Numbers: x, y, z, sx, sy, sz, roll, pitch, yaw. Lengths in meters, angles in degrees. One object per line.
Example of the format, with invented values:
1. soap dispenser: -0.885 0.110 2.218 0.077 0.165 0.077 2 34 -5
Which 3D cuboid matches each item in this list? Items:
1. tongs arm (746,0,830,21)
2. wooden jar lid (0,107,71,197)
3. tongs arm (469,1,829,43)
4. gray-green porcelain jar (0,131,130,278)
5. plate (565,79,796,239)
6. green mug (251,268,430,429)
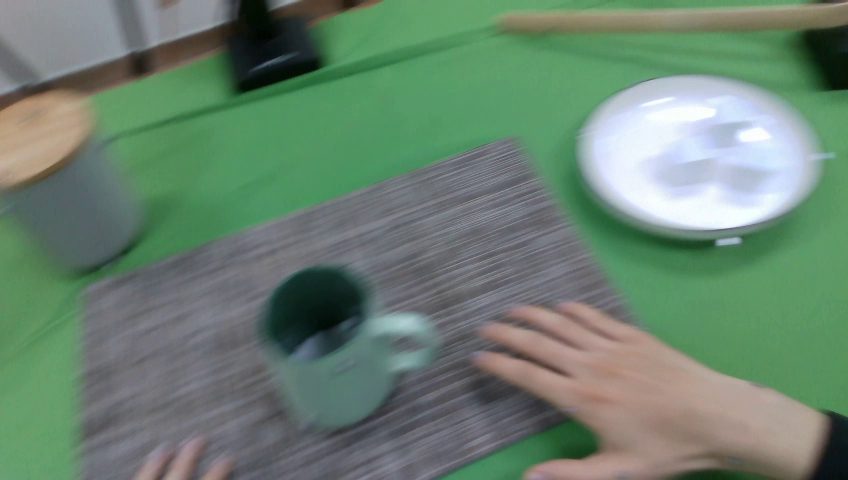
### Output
1. tongs arm: 0.271 -0.302 0.733 0.382 0.027 0.050 17 55 30
2. wooden jar lid: -0.358 -0.072 0.523 0.108 0.021 0.107 -2 54 4
3. tongs arm: 0.236 -0.244 0.693 0.385 0.028 0.028 6 47 22
4. gray-green porcelain jar: -0.351 -0.033 0.571 0.106 0.128 0.105 -3 52 4
5. plate: 0.242 -0.078 0.591 0.207 0.039 0.205 -3 52 5
6. green mug: -0.058 0.082 0.455 0.125 0.106 0.091 -3 51 5
